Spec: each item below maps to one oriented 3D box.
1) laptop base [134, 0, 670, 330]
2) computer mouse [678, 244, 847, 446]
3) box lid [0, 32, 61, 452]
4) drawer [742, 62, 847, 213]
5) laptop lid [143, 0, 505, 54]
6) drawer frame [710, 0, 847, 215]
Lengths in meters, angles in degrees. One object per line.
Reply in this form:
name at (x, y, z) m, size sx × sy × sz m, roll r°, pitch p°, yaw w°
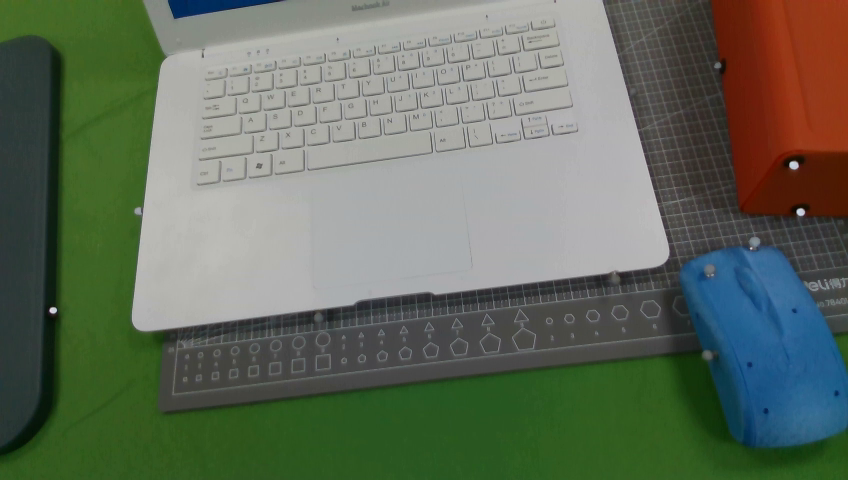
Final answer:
laptop base at (-0.028, -0.066, 0.440) m, size 0.354 × 0.023 × 0.233 m, roll -8°, pitch 68°, yaw 4°
computer mouse at (0.191, 0.055, 0.342) m, size 0.063 × 0.041 × 0.116 m, roll -10°, pitch 63°, yaw 5°
box lid at (-0.407, 0.005, 0.462) m, size 0.263 × 0.015 × 0.368 m, roll -16°, pitch 64°, yaw 0°
drawer at (0.302, -0.120, 0.385) m, size 0.194 × 0.074 × 0.210 m, roll 2°, pitch 65°, yaw 8°
laptop lid at (-0.055, -0.265, 0.422) m, size 0.356 × 0.244 × 0.013 m, roll -9°, pitch 35°, yaw 5°
drawer frame at (0.302, -0.122, 0.385) m, size 0.201 × 0.083 × 0.212 m, roll 1°, pitch 65°, yaw 8°
